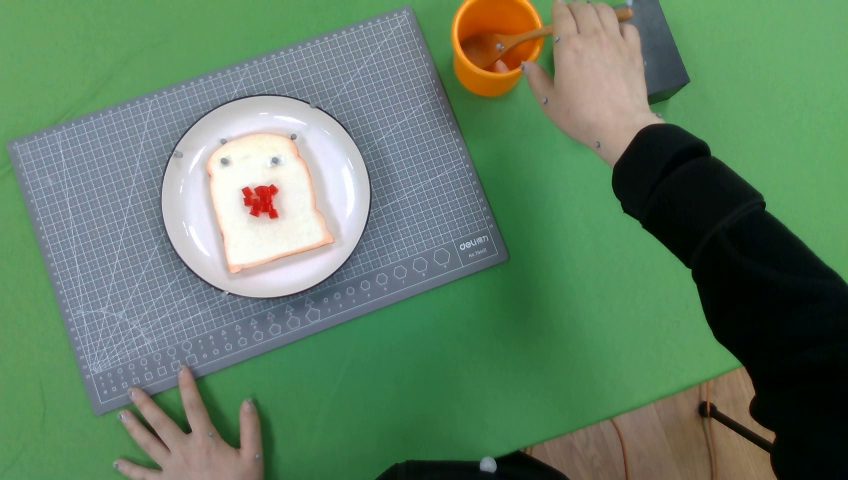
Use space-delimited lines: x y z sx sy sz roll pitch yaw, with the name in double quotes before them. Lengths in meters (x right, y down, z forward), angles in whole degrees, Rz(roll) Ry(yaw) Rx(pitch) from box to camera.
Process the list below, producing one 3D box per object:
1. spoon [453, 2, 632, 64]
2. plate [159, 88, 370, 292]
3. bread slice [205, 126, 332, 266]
"spoon" 0.109 -0.206 0.595 0.022 0.192 0.041 13 82 -46
"plate" -0.158 -0.050 0.619 0.209 0.038 0.208 0 85 -3
"bread slice" -0.166 -0.048 0.619 0.107 0.018 0.134 -20 85 -6
